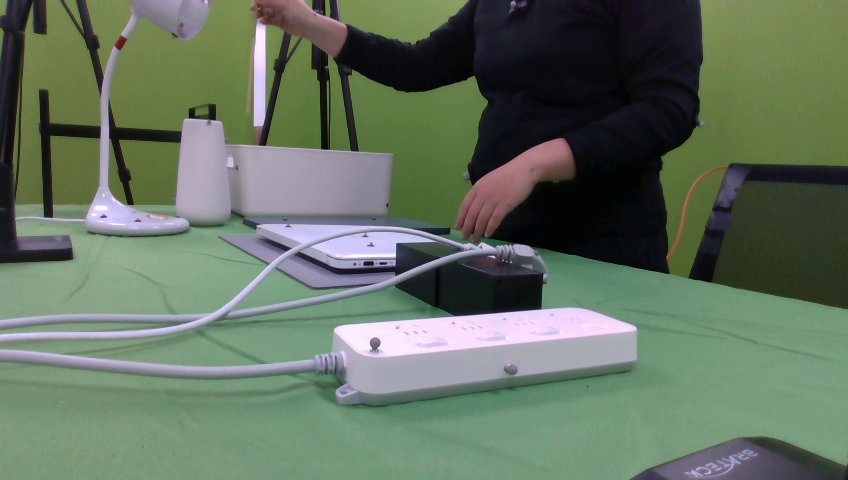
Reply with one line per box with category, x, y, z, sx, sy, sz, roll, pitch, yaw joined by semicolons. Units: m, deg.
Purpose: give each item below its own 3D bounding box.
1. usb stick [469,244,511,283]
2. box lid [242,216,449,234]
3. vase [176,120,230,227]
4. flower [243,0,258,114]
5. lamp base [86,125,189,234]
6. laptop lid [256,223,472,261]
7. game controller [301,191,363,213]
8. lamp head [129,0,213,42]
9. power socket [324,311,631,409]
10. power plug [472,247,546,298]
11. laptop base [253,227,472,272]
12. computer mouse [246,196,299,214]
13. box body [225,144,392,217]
usb stick;0.080;0.029;0.673;0.059;0.021;0.027;28;25;-29
box lid;-0.162;-0.030;1.233;0.373;0.015;0.262;-1;8;-32
vase;-0.425;-0.127;1.159;0.098;0.200;0.098;2;9;0
flower;-0.331;-0.428;1.178;0.038;0.361;0.044;2;8;-44
lamp base;-0.497;-0.105;1.027;0.179;0.180;0.160;1;7;3
laptop lid;-0.092;0.000;0.912;0.243;0.013;0.355;1;7;-30
game controller;-0.240;-0.098;1.550;0.155;0.051;0.097;3;9;5
lamp head;-0.423;-0.394;0.980;0.123;0.112;0.112;20;7;-3
power socket;0.042;0.075;0.410;0.228;0.032;0.072;-1;7;-26
power plug;0.081;0.030;0.584;0.072;0.052;0.035;11;29;8
laptop base;-0.095;0.012;0.912;0.237;0.023;0.352;2;7;-32
computer mouse;-0.355;-0.083;1.418;0.117;0.041;0.063;0;10;7
box body;-0.289;-0.143;1.474;0.366;0.160;0.253;-1;9;-29
